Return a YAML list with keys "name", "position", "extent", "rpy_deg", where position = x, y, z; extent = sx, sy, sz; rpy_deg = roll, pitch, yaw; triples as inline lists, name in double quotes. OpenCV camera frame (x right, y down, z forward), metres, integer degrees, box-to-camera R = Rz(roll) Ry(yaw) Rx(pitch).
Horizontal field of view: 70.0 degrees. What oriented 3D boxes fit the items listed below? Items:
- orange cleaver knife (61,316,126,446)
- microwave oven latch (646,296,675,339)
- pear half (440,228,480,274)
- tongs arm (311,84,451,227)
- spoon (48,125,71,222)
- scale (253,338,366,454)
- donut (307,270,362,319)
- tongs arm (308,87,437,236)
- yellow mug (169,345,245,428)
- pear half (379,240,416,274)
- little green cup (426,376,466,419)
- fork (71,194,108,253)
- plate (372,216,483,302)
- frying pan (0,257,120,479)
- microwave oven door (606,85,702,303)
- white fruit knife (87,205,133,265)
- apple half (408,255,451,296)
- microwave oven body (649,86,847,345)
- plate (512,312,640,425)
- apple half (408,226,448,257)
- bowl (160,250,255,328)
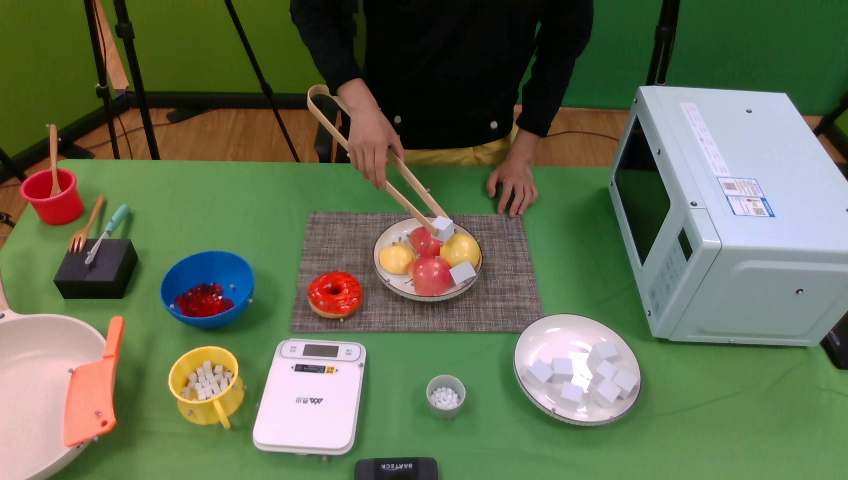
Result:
- name: "orange cleaver knife"
  position: [-0.480, 0.199, 0.888]
  extent: [0.077, 0.012, 0.210]
  rpy_deg: [-8, 46, -9]
- name: "microwave oven latch"
  position: [0.412, 0.134, 1.061]
  extent: [0.030, 0.029, 0.078]
  rpy_deg: [4, 45, 1]
- name: "pear half"
  position: [0.065, 0.006, 1.150]
  extent: [0.076, 0.056, 0.109]
  rpy_deg: [-10, 44, -2]
- name: "tongs arm"
  position: [-0.086, -0.162, 1.147]
  extent: [0.051, 0.026, 0.383]
  rpy_deg: [-31, 72, -26]
- name: "spoon"
  position: [-0.718, -0.131, 1.188]
  extent: [0.041, 0.021, 0.193]
  rpy_deg: [-3, 90, -7]
- name: "scale"
  position: [-0.175, 0.236, 0.951]
  extent: [0.149, 0.032, 0.199]
  rpy_deg: [4, 45, -1]
- name: "donut"
  position: [-0.158, 0.097, 1.073]
  extent: [0.099, 0.048, 0.098]
  rpy_deg: [4, 45, -4]
- name: "tongs arm"
  position: [-0.104, -0.150, 1.135]
  extent: [0.028, 0.028, 0.386]
  rpy_deg: [-36, 74, -24]
- name: "yellow mug"
  position: [-0.323, 0.230, 0.922]
  extent: [0.100, 0.064, 0.130]
  rpy_deg: [-24, 53, -25]
- name: "pear half"
  position: [-0.048, 0.024, 1.146]
  extent: [0.070, 0.031, 0.087]
  rpy_deg: [11, 47, -11]
- name: "little green cup"
  position: [0.033, 0.248, 0.950]
  extent: [0.061, 0.039, 0.061]
  rpy_deg: [2, 46, -2]
- name: "fork"
  position: [-0.634, -0.036, 1.158]
  extent: [0.028, 0.019, 0.206]
  rpy_deg: [-8, 31, -8]
- name: "plate"
  position: [0.006, 0.038, 1.145]
  extent: [0.209, 0.038, 0.208]
  rpy_deg: [2, 46, -2]
- name: "frying pan"
  position: [-0.647, 0.164, 0.936]
  extent: [0.307, 0.103, 0.485]
  rpy_deg: [-19, 58, -22]
- name: "microwave oven door"
  position: [0.422, -0.094, 1.140]
  extent: [0.039, 0.245, 0.353]
  rpy_deg: [2, 46, -1]
- name: "white fruit knife"
  position: [-0.584, -0.013, 1.129]
  extent: [0.016, 0.027, 0.206]
  rpy_deg: [-1, 32, -4]
- name: "apple half"
  position: [0.012, 0.058, 1.103]
  extent: [0.075, 0.053, 0.080]
  rpy_deg: [-6, 43, -14]
- name: "microwave oven body"
  position: [0.567, -0.053, 1.118]
  extent: [0.326, 0.261, 0.439]
  rpy_deg: [2, 45, -1]
- name: "plate"
  position: [0.246, 0.213, 0.999]
  extent: [0.208, 0.039, 0.206]
  rpy_deg: [2, 46, -2]
- name: "apple half"
  position: [0.011, -0.006, 1.176]
  extent: [0.081, 0.033, 0.081]
  rpy_deg: [1, 53, -2]
- name: "bowl"
  position: [-0.362, 0.098, 1.039]
  extent: [0.151, 0.077, 0.150]
  rpy_deg: [2, 45, -2]
